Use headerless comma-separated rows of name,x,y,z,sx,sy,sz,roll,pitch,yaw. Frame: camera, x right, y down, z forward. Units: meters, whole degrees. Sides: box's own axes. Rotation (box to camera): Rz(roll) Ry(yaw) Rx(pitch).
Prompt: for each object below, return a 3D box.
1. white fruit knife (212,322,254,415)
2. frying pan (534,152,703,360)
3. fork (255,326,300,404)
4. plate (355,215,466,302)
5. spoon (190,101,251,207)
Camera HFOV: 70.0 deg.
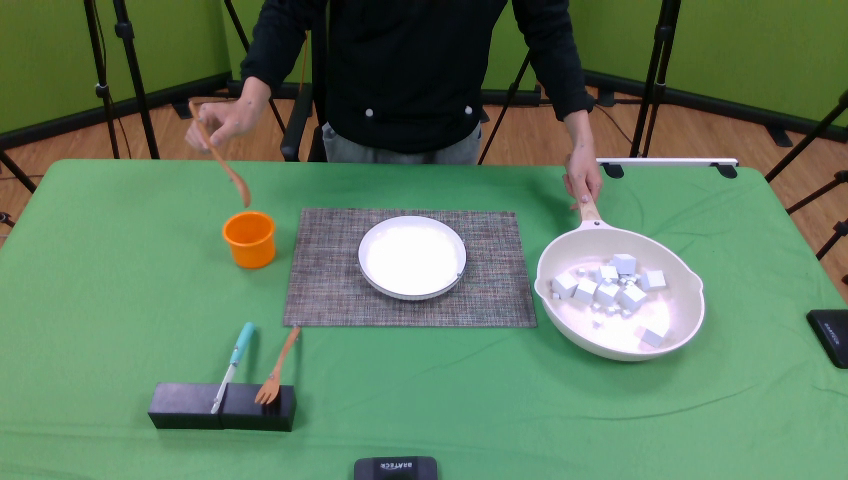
white fruit knife,-0.298,0.193,0.947,0.016,0.027,0.206,2,31,-1
frying pan,0.335,0.013,1.154,0.307,0.103,0.484,-1,55,-7
fork,-0.226,0.192,0.955,0.028,0.019,0.206,-1,27,5
plate,-0.025,0.038,1.143,0.208,0.039,0.206,3,46,-2
spoon,-0.336,-0.140,1.004,0.021,0.194,0.041,-25,26,5
